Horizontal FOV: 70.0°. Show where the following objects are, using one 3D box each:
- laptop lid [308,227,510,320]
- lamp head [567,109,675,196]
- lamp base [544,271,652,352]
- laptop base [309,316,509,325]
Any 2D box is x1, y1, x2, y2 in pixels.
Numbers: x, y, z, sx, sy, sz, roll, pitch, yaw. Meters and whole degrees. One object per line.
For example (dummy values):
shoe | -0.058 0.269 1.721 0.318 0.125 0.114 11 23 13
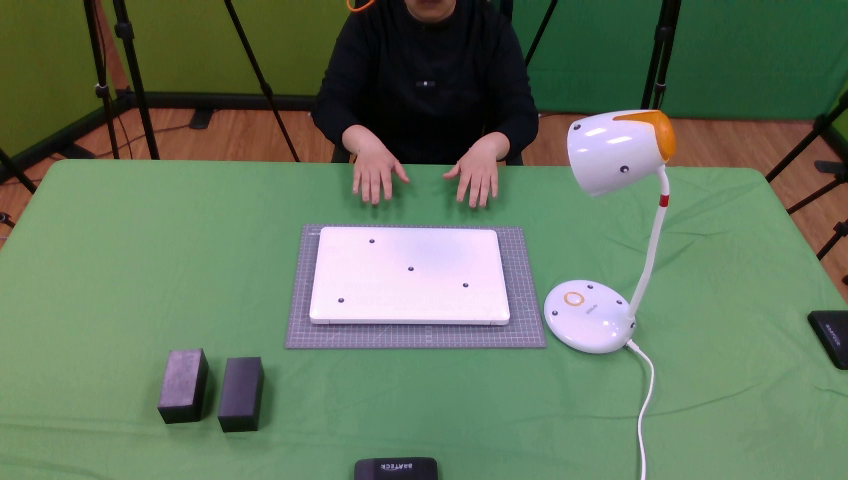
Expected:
laptop lid | -0.027 0.056 1.127 0.357 0.013 0.240 2 44 -3
lamp head | 0.272 -0.123 0.818 0.122 0.113 0.112 -9 35 37
lamp base | 0.309 0.086 1.029 0.178 0.181 0.160 32 52 21
laptop base | -0.028 0.066 1.134 0.355 0.023 0.234 1 43 -4
